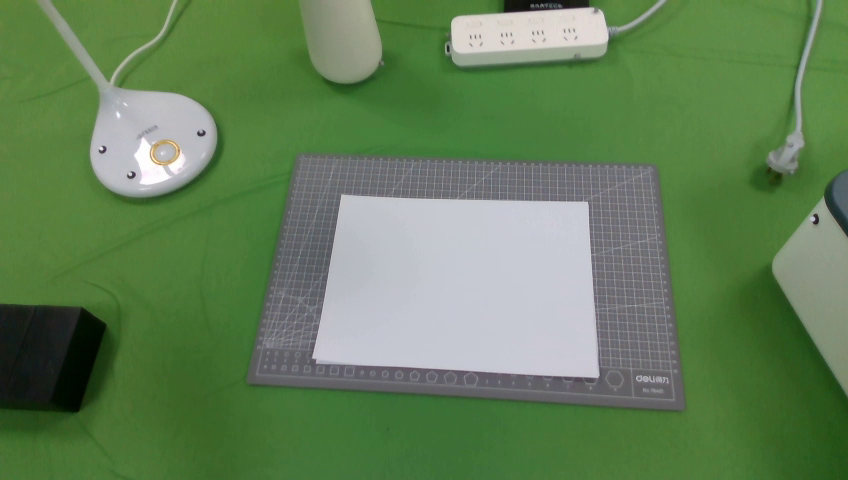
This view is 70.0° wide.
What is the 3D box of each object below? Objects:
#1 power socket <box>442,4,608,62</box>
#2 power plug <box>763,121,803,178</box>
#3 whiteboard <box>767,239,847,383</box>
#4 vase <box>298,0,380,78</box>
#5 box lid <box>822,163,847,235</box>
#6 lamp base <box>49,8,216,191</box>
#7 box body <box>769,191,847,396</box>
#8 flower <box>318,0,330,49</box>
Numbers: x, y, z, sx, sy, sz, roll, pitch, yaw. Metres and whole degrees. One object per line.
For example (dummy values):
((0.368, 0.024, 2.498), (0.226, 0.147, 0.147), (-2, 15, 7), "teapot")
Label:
((0.138, -0.283, 0.828), (0.227, 0.033, 0.071), (-2, 63, 2), "power socket")
((0.430, -0.104, 0.718), (0.072, 0.053, 0.035), (-27, 59, -34), "power plug")
((0.528, 0.088, 0.557), (0.217, 0.145, 0.302), (-16, 63, -9), "whiteboard")
((-0.114, -0.298, 0.755), (0.098, 0.201, 0.097), (-2, 62, 4), "vase")
((0.523, 0.058, 0.475), (0.263, 0.015, 0.368), (-17, 63, -5), "box lid")
((-0.362, -0.174, 0.715), (0.178, 0.182, 0.160), (33, 69, 21), "lamp base")
((0.528, 0.095, 0.541), (0.254, 0.161, 0.360), (-16, 63, -5), "box body")
((-0.099, -0.327, 0.677), (0.044, 0.362, 0.038), (-37, 83, -24), "flower")
